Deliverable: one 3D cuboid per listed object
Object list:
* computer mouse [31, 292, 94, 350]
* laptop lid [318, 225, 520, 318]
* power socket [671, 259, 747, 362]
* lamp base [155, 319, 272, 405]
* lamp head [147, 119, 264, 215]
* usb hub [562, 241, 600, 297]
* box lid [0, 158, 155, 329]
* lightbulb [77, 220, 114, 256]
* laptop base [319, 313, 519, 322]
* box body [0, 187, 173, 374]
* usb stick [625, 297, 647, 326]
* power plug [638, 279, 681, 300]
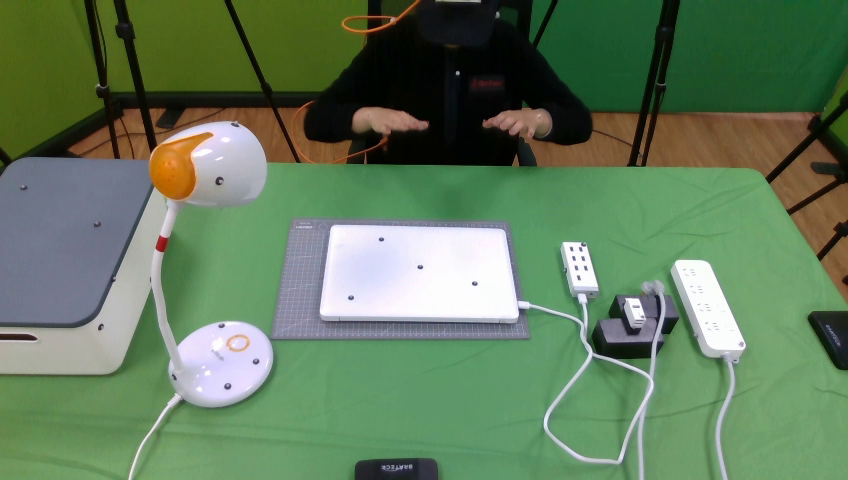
[{"bbox_3d":[-0.602,0.130,1.009,0.063,0.041,0.116,-1,42,-1],"label":"computer mouse"},{"bbox_3d":[-0.009,0.052,1.131,0.357,0.013,0.240,2,43,-2],"label":"laptop lid"},{"bbox_3d":[0.516,0.119,1.108,0.072,0.033,0.225,1,46,-2],"label":"power socket"},{"bbox_3d":[-0.330,0.149,0.918,0.160,0.181,0.179,26,52,20],"label":"lamp base"},{"bbox_3d":[-0.276,-0.087,0.740,0.112,0.112,0.123,20,23,15],"label":"lamp head"},{"bbox_3d":[0.300,0.055,1.162,0.049,0.025,0.124,2,46,-3],"label":"usb hub"},{"bbox_3d":[-0.598,-0.011,0.964,0.263,0.015,0.369,1,45,-3],"label":"box lid"},{"bbox_3d":[-0.614,-0.009,1.139,0.059,0.060,0.107,-13,28,-16],"label":"lightbulb"},{"bbox_3d":[-0.009,0.062,1.137,0.354,0.023,0.234,1,42,-3],"label":"laptop base"},{"bbox_3d":[-0.601,0.039,1.019,0.254,0.161,0.361,1,46,-3],"label":"box body"},{"bbox_3d":[0.360,0.116,1.034,0.021,0.027,0.059,-2,44,-2],"label":"usb stick"},{"bbox_3d":[0.434,0.099,1.118,0.073,0.053,0.035,34,37,-14],"label":"power plug"}]
